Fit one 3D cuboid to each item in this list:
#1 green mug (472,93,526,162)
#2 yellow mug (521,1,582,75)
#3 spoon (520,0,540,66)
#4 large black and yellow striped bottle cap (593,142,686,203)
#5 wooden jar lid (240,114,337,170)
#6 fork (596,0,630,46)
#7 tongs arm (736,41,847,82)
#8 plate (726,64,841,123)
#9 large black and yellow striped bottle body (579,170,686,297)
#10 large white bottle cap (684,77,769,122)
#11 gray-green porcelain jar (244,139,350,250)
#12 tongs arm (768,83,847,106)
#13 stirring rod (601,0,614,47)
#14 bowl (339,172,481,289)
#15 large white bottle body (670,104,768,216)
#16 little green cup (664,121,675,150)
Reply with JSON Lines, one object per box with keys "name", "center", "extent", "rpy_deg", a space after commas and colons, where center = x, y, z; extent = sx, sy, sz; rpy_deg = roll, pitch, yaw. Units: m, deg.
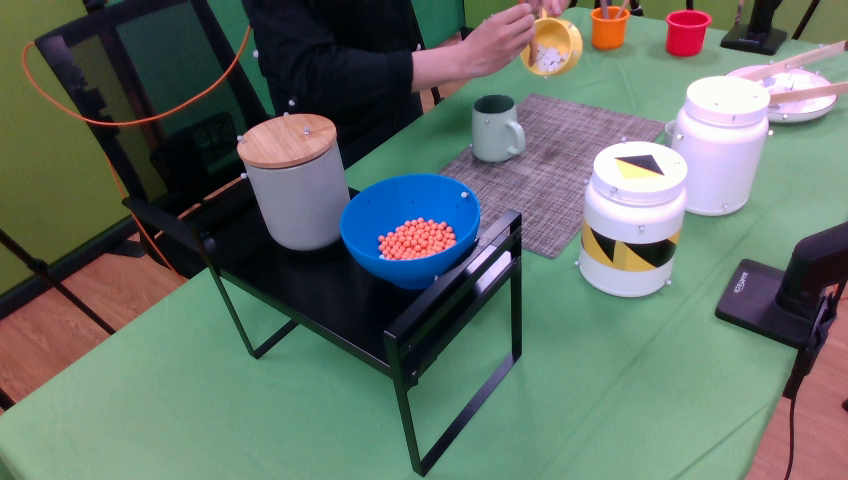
{"name": "green mug", "center": [0.144, -0.202, 1.122], "extent": [0.093, 0.105, 0.124], "rpy_deg": [-29, 45, -23]}
{"name": "yellow mug", "center": [0.236, -0.375, 1.125], "extent": [0.099, 0.131, 0.064], "rpy_deg": [-1, 13, 29]}
{"name": "spoon", "center": [0.172, -0.358, 1.000], "extent": [0.021, 0.195, 0.041], "rpy_deg": [-4, 67, 18]}
{"name": "large black and yellow striped bottle cap", "center": [0.280, -0.090, 0.786], "extent": [0.115, 0.019, 0.114], "rpy_deg": [-5, 41, 5]}
{"name": "wooden jar lid", "center": [-0.149, -0.106, 0.673], "extent": [0.108, 0.021, 0.108], "rpy_deg": [-6, 38, 5]}
{"name": "fork", "center": [0.481, -0.556, 1.452], "extent": [0.028, 0.019, 0.207], "rpy_deg": [40, 103, 38]}
{"name": "tongs arm", "center": [0.712, -0.332, 1.194], "extent": [0.386, 0.026, 0.050], "rpy_deg": [-19, 45, -16]}
{"name": "plate", "center": [0.695, -0.282, 1.189], "extent": [0.207, 0.039, 0.206], "rpy_deg": [-4, 40, 4]}
{"name": "large black and yellow striped bottle body", "center": [0.287, -0.027, 0.841], "extent": [0.131, 0.185, 0.130], "rpy_deg": [-4, 41, 4]}
{"name": "large white bottle cap", "center": [0.448, -0.209, 0.898], "extent": [0.115, 0.018, 0.114], "rpy_deg": [-4, 40, 4]}
{"name": "gray-green porcelain jar", "center": [-0.143, -0.060, 0.714], "extent": [0.106, 0.127, 0.105], "rpy_deg": [-4, 41, 4]}
{"name": "tongs arm", "center": [0.738, -0.281, 1.134], "extent": [0.388, 0.028, 0.028], "rpy_deg": [-9, 47, -5]}
{"name": "stirring rod", "center": [0.439, -0.552, 1.463], "extent": [0.014, 0.006, 0.175], "rpy_deg": [-7, 83, 3]}
{"name": "bowl", "center": [-0.011, 0.001, 0.660], "extent": [0.151, 0.077, 0.150], "rpy_deg": [-5, 41, 5]}
{"name": "large white bottle body", "center": [0.458, -0.146, 0.953], "extent": [0.130, 0.185, 0.130], "rpy_deg": [-4, 40, 4]}
{"name": "little green cup", "center": [0.472, -0.188, 1.113], "extent": [0.061, 0.039, 0.061], "rpy_deg": [-4, 40, 4]}
